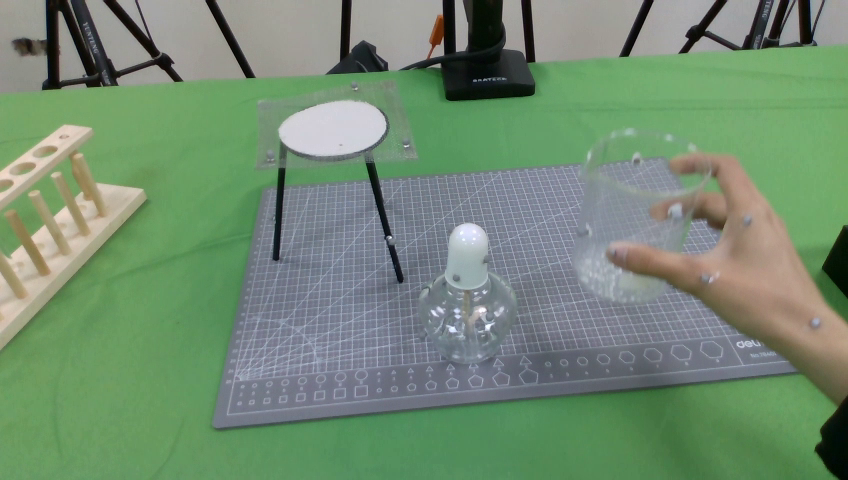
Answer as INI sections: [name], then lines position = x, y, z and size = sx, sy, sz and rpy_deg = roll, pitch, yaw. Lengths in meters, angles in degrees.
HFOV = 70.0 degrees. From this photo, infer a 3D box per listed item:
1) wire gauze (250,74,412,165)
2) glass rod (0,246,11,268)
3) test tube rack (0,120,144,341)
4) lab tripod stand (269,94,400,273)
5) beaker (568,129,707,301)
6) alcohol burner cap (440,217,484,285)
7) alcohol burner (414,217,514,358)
[wire gauze]
position = -0.080, -0.099, 0.493
size = 0.125, 0.011, 0.120
rpy_deg = -9, 42, -6
[glass rod]
position = -0.396, -0.056, 0.503
size = 0.008, 0.201, 0.008
rpy_deg = -5, 36, 4
[test tube rack]
position = -0.365, -0.008, 0.547
size = 0.066, 0.086, 0.240
rpy_deg = 8, 43, 12
[lab tripod stand]
position = -0.077, -0.049, 0.538
size = 0.148, 0.133, 0.147
rpy_deg = -2, 44, 2
[beaker]
position = 0.138, -0.014, 0.417
size = 0.084, 0.101, 0.073
rpy_deg = -6, 41, -5
[alcohol burner cap]
position = 0.028, 0.006, 0.432
size = 0.034, 0.048, 0.033
rpy_deg = 0, 40, 0
[alcohol burner]
position = 0.030, 0.032, 0.457
size = 0.078, 0.120, 0.077
rpy_deg = -2, 40, 2
